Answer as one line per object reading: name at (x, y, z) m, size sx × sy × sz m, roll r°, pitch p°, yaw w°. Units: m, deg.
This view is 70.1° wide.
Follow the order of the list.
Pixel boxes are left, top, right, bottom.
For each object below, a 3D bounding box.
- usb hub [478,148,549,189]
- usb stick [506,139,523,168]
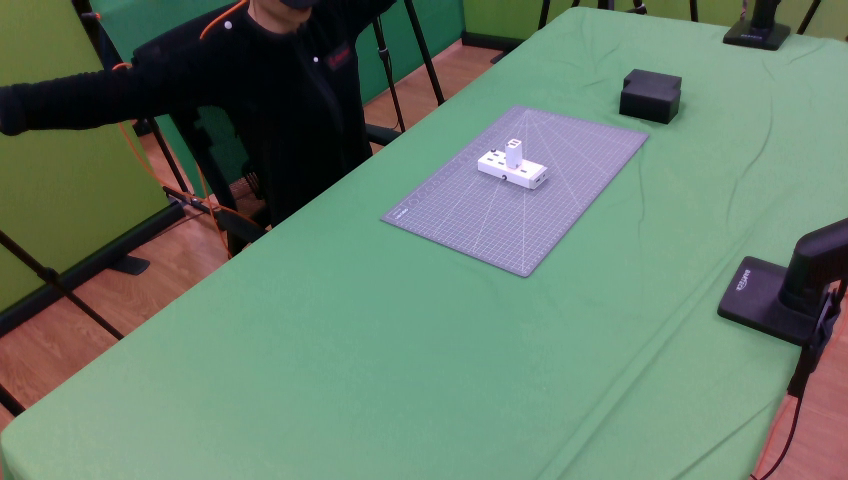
usb hub at (0.161, -0.131, 1.099) m, size 0.124 × 0.025 × 0.049 m, roll 26°, pitch 51°, yaw 34°
usb stick at (0.160, -0.148, 1.074) m, size 0.021 × 0.059 × 0.027 m, roll 24°, pitch 48°, yaw 33°
